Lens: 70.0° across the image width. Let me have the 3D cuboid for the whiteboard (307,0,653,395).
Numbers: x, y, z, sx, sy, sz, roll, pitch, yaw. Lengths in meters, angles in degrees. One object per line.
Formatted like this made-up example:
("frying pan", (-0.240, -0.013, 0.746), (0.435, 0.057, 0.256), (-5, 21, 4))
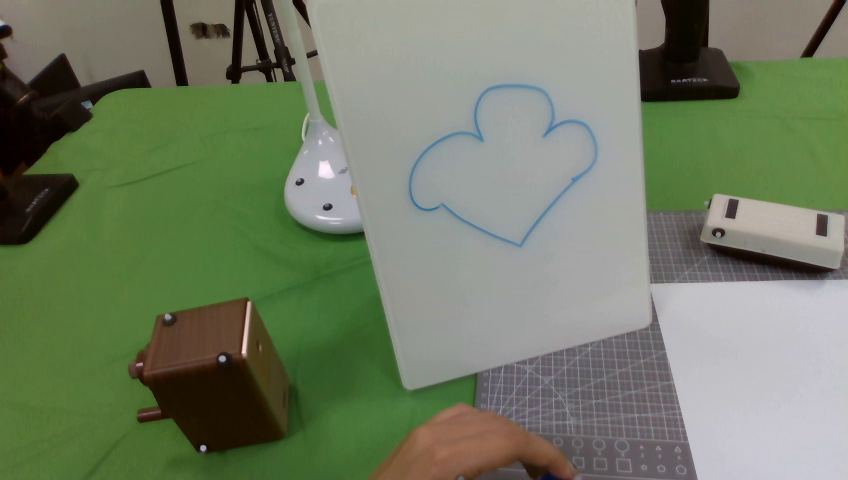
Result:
("whiteboard", (0.050, -0.062, 0.503), (0.217, 0.307, 0.142), (-14, 23, -4))

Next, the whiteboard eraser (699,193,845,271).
("whiteboard eraser", (0.313, -0.007, 0.548), (0.112, 0.042, 0.055), (14, 48, 23))

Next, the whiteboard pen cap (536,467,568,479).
("whiteboard pen cap", (0.083, 0.152, 0.360), (0.018, 0.018, 0.033), (-35, 37, -26))

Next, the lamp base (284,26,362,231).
("lamp base", (-0.098, -0.127, 0.649), (0.160, 0.182, 0.177), (-34, 45, -25))

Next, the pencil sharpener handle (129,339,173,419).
("pencil sharpener handle", (-0.206, 0.106, 0.447), (0.030, 0.068, 0.035), (-11, 30, -1))

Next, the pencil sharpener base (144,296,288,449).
("pencil sharpener base", (-0.154, 0.103, 0.460), (0.077, 0.108, 0.060), (-11, 42, -1))
